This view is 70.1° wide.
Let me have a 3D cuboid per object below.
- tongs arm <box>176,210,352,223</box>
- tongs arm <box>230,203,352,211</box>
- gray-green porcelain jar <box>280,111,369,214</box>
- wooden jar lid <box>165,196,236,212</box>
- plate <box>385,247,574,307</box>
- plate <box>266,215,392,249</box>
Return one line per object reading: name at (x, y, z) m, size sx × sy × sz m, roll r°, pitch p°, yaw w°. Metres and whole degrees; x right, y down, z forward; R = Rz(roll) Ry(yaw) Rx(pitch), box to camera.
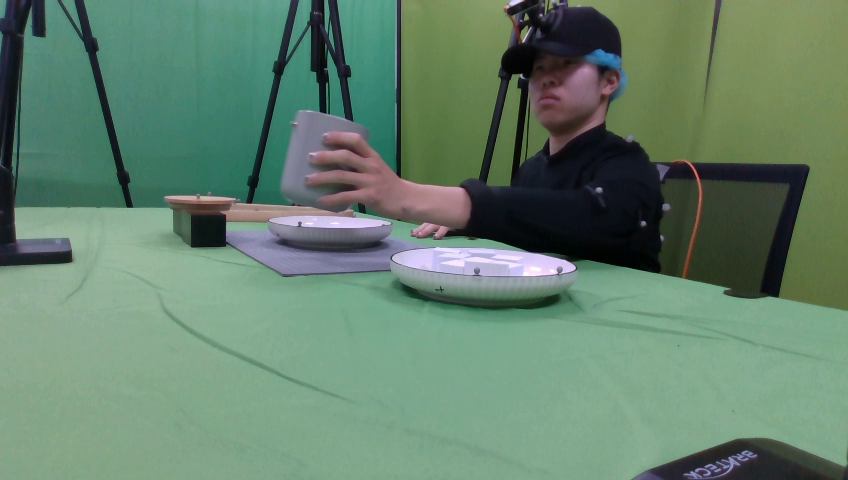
tongs arm at (-0.337, -0.053, 1.329) m, size 0.389 × 0.028 × 0.028 m, roll -1°, pitch 6°, yaw -27°
tongs arm at (-0.362, -0.068, 1.406) m, size 0.386 × 0.026 × 0.050 m, roll 2°, pitch 9°, yaw -14°
gray-green porcelain jar at (-0.143, -0.106, 0.859) m, size 0.106 × 0.126 × 0.106 m, roll 13°, pitch 0°, yaw 0°
wooden jar lid at (-0.369, -0.060, 1.001) m, size 0.108 × 0.020 × 0.108 m, roll 3°, pitch 6°, yaw 0°
plate at (0.060, 0.041, 0.678) m, size 0.208 × 0.039 × 0.207 m, roll 3°, pitch 7°, yaw 0°
plate at (-0.159, -0.015, 1.019) m, size 0.209 × 0.038 × 0.209 m, roll 3°, pitch 7°, yaw 0°
